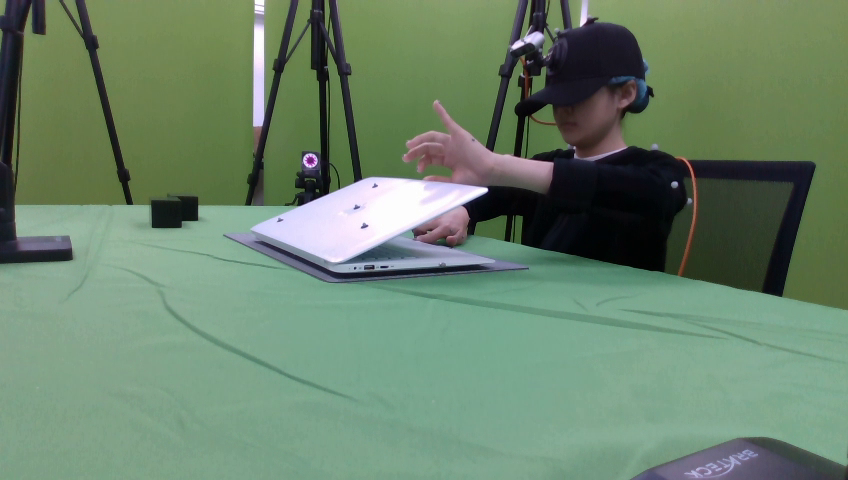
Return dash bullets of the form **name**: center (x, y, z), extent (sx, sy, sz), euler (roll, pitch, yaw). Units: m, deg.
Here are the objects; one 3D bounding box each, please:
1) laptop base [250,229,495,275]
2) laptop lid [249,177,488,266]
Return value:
- **laptop base**: center (-0.093, 0.015, 0.883), extent (0.237, 0.023, 0.352), euler (2, 6, -32)
- **laptop lid**: center (-0.098, -0.042, 0.871), extent (0.242, 0.013, 0.355), euler (-26, 21, -25)
